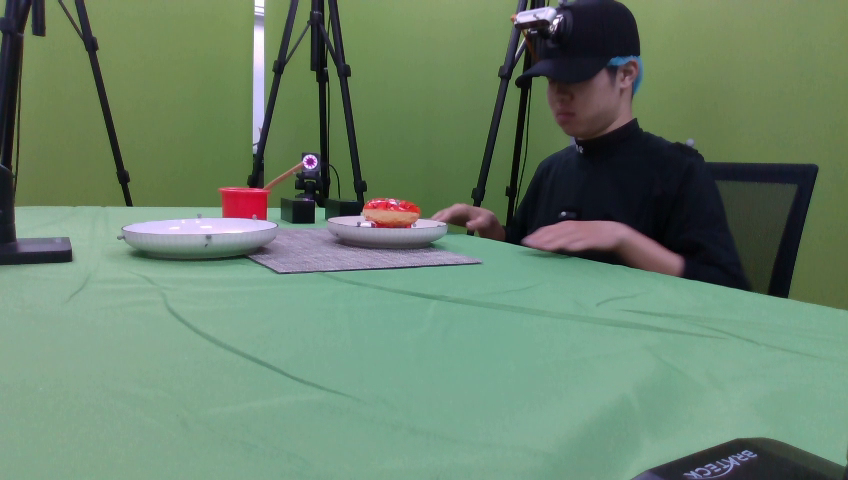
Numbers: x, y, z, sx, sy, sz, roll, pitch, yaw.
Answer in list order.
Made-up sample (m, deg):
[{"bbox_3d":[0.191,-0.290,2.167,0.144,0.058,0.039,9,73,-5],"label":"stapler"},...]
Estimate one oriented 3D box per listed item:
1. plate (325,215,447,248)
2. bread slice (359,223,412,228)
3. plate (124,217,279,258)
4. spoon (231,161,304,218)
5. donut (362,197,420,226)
[{"bbox_3d":[-0.065,-0.015,1.034,0.209,0.038,0.209,3,8,0],"label":"plate"},{"bbox_3d":[-0.061,-0.013,1.034,0.105,0.019,0.131,0,9,-19],"label":"bread slice"},{"bbox_3d":[-0.315,-0.004,0.870,0.208,0.039,0.207,1,8,0],"label":"plate"},{"bbox_3d":[-0.314,-0.096,1.192,0.194,0.022,0.041,-42,13,-5],"label":"spoon"},{"bbox_3d":[-0.056,-0.048,1.024,0.099,0.048,0.099,4,8,0],"label":"donut"}]
